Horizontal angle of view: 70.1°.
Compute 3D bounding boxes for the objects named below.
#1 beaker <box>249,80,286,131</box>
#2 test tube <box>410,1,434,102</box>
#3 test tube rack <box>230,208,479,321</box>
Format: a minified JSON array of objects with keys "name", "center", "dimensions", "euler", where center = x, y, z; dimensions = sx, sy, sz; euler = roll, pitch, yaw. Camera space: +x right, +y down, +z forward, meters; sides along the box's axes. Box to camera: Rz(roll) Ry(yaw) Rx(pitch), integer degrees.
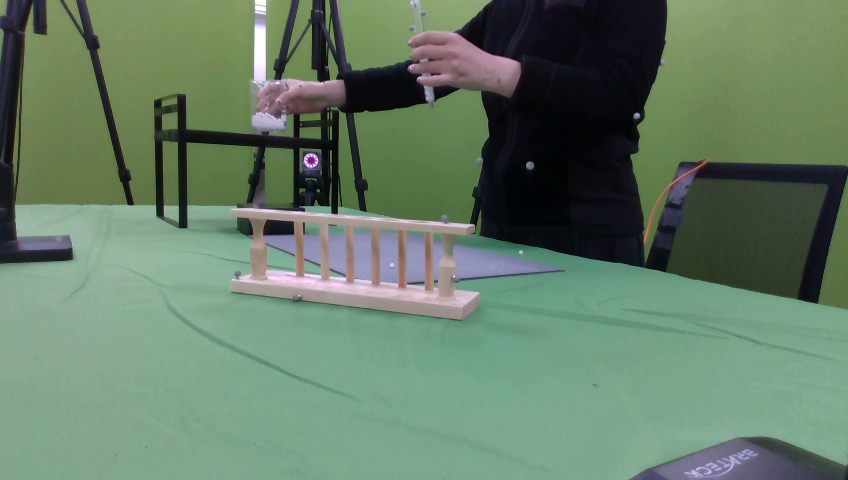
[{"name":"beaker","center":[-0.316,-0.271,1.223],"dimensions":[0.074,0.100,0.084],"euler":[2,12,3]},{"name":"test tube","center":[-0.003,-0.287,0.926],"dimensions":[0.017,0.150,0.017],"euler":[-9,12,2]},{"name":"test tube rack","center":[-0.069,0.017,0.598],"dimensions":[0.242,0.085,0.067],"euler":[5,8,18]}]
